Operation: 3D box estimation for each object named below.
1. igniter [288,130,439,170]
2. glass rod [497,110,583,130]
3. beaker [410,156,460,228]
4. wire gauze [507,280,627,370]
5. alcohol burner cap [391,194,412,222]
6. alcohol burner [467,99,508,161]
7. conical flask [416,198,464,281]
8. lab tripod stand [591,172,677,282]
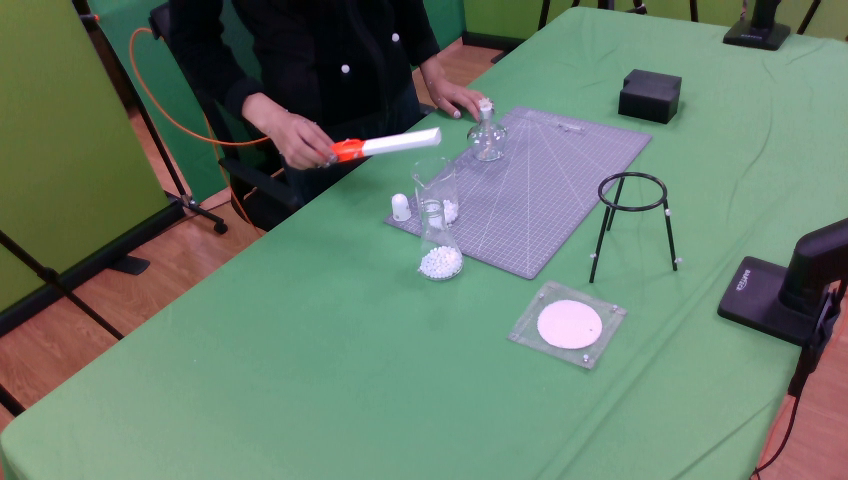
[{"bbox_3d":[-0.106,-0.145,0.981,0.275,0.025,0.057,-5,37,24],"label":"igniter"},{"bbox_3d":[0.233,-0.245,1.235,0.198,0.008,0.008,21,49,35],"label":"glass rod"},{"bbox_3d":[0.020,-0.076,1.006,0.074,0.101,0.084,3,42,15],"label":"beaker"},{"bbox_3d":[0.196,0.114,0.823,0.120,0.011,0.125,20,50,31],"label":"wire gauze"},{"bbox_3d":[-0.041,-0.057,1.040,0.034,0.048,0.033,-6,41,6],"label":"alcohol burner cap"},{"bbox_3d":[0.119,-0.210,1.134,0.078,0.119,0.077,-4,39,4],"label":"alcohol burner"},{"bbox_3d":[0.019,-0.004,0.907,0.075,0.122,0.075,-5,40,5],"label":"conical flask"},{"bbox_3d":[0.292,-0.022,0.867,0.148,0.132,0.147,-7,39,6],"label":"lab tripod stand"}]
